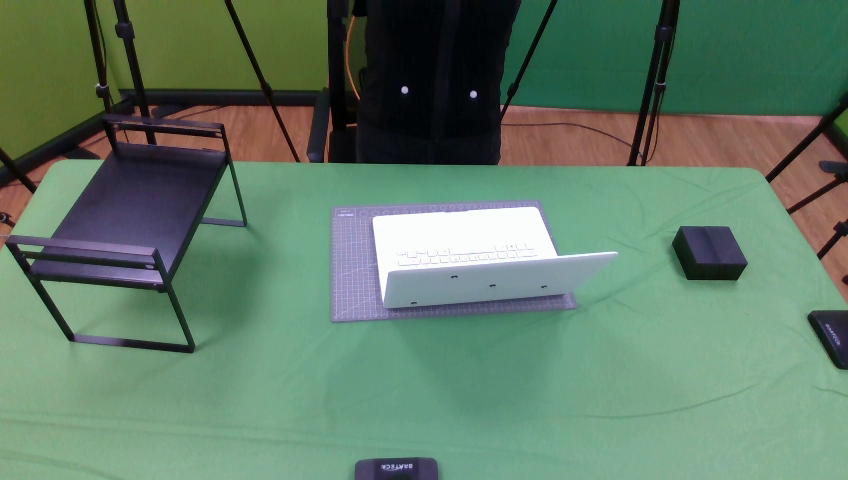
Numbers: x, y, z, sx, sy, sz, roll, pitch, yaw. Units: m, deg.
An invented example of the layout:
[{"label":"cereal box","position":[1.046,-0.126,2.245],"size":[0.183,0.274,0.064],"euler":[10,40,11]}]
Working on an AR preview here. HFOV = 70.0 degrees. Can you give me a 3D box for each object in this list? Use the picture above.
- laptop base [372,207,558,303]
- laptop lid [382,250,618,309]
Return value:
[{"label":"laptop base","position":[0.083,0.027,1.178],"size":[0.355,0.023,0.234],"euler":[-4,43,-8]},{"label":"laptop lid","position":[0.110,0.070,0.989],"size":[0.357,0.242,0.013],"euler":[-4,70,-9]}]
